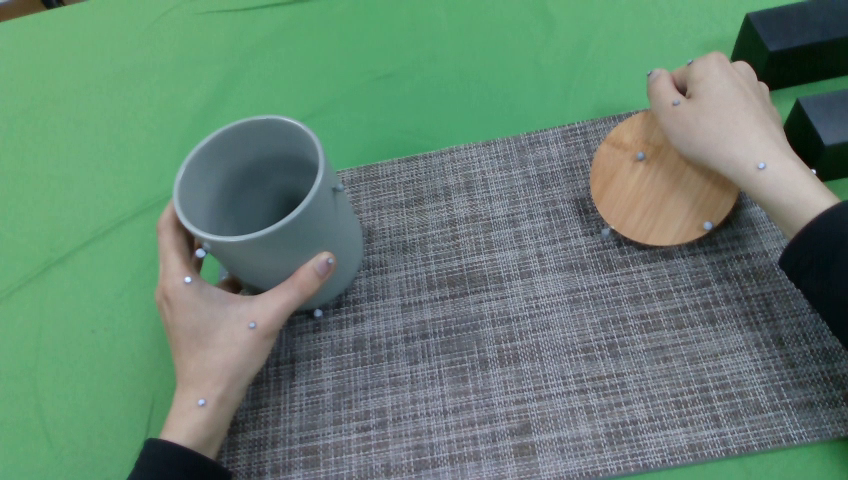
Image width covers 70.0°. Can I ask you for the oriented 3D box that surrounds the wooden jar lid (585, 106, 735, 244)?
[{"bbox_3d":[0.182,-0.050,0.472,0.108,0.021,0.108,-2,85,18],"label":"wooden jar lid"}]

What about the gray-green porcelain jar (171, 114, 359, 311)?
[{"bbox_3d":[-0.110,-0.013,0.457,0.106,0.128,0.105,-4,58,7],"label":"gray-green porcelain jar"}]
